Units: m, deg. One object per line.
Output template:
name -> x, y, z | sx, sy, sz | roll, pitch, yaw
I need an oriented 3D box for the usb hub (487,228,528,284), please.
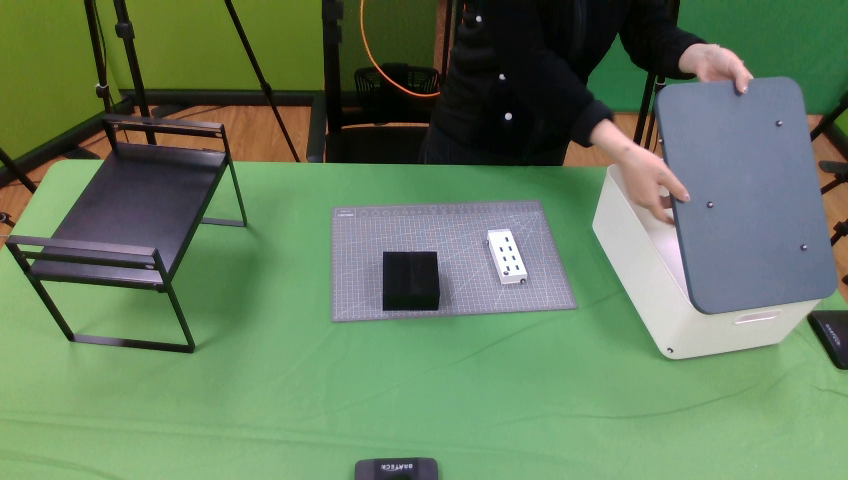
usb hub -> 0.159, 0.030, 1.173 | 0.049, 0.025, 0.124 | -5, 47, -9

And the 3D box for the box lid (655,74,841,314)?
box lid -> 0.512, -0.080, 0.957 | 0.263, 0.015, 0.370 | -7, 85, -9

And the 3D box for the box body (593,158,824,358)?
box body -> 0.497, 0.023, 1.112 | 0.254, 0.161, 0.361 | -7, 47, -10
